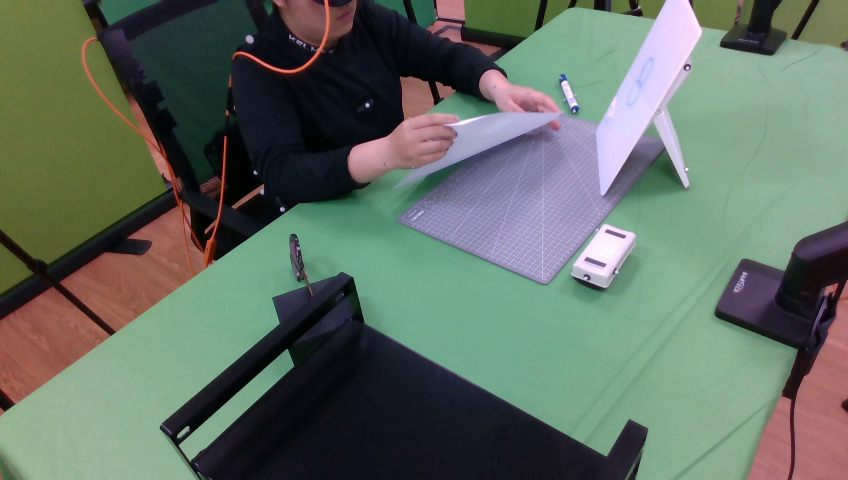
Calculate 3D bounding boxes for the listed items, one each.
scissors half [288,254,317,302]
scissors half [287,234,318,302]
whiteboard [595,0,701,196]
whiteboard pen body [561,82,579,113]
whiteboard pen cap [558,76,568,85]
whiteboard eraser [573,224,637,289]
[{"bbox_3d":[-0.178,0.058,0.894,0.013,0.040,0.174,-15,20,-18],"label":"scissors half"},{"bbox_3d":[-0.178,0.040,0.885,0.013,0.040,0.173,-10,36,-21],"label":"scissors half"},{"bbox_3d":[0.421,-0.227,1.010,0.144,0.305,0.216,18,42,-2],"label":"whiteboard"},{"bbox_3d":[0.310,-0.311,1.298,0.017,0.017,0.140,-6,41,2],"label":"whiteboard pen body"},{"bbox_3d":[0.310,-0.350,1.340,0.018,0.018,0.033,-6,42,2],"label":"whiteboard pen cap"},{"bbox_3d":[0.267,0.025,0.891,0.055,0.042,0.113,19,47,31],"label":"whiteboard eraser"}]
